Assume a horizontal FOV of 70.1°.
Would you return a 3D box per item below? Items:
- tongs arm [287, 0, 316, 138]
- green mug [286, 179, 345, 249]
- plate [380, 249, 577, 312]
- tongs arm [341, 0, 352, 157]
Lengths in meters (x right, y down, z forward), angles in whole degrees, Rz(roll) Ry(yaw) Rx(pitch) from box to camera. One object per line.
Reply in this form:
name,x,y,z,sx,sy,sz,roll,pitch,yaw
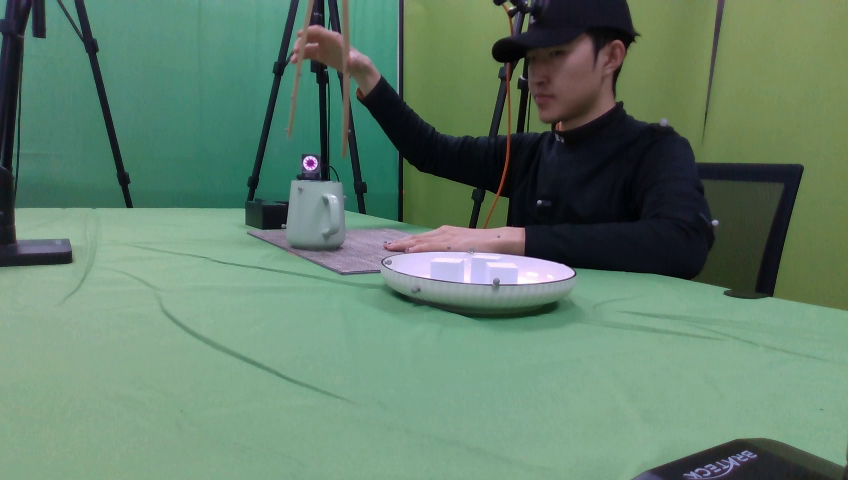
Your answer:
tongs arm,-0.229,-0.354,1.215,0.051,0.384,0.026,23,44,1
green mug,-0.161,-0.040,0.937,0.093,0.105,0.124,-2,8,-32
plate,0.057,0.042,0.646,0.209,0.038,0.209,2,7,0
tongs arm,-0.162,-0.331,1.212,0.028,0.387,0.028,18,44,11
